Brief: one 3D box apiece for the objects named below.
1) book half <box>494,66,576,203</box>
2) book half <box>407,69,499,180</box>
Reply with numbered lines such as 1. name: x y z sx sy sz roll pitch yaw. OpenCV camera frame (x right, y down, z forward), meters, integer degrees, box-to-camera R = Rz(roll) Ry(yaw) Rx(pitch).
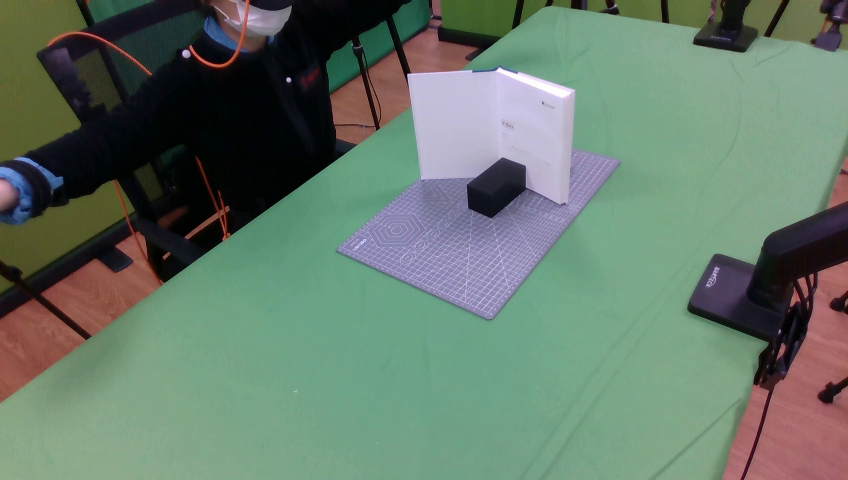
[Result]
1. book half: 0.179 -0.167 0.988 0.016 0.211 0.147 -36 48 -28
2. book half: 0.054 -0.191 1.034 0.143 0.211 0.007 -2 42 7
